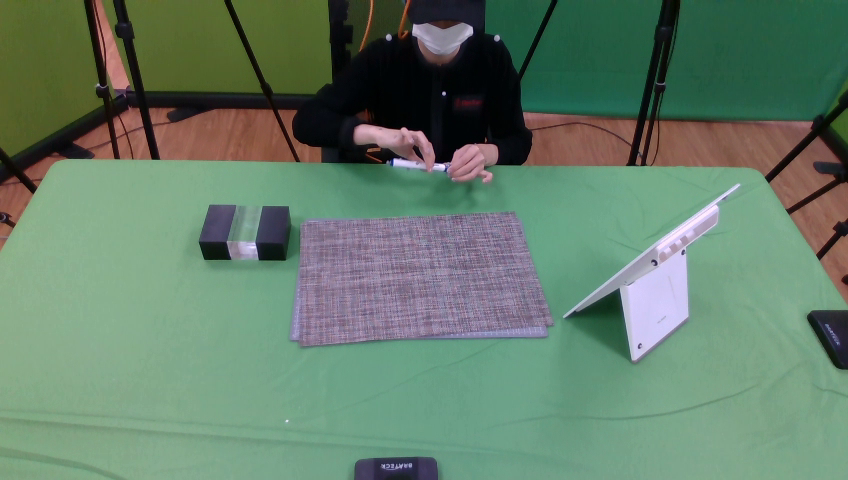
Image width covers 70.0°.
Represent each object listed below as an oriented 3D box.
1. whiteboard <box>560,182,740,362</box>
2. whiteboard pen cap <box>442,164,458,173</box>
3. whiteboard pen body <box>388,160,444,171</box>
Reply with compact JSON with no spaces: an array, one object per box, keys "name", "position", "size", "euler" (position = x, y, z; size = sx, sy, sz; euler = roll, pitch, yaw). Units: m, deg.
[{"name":"whiteboard","position":[0.406,0.075,1.001],"size":[0.217,0.306,0.143],"euler":[-28,73,-28]},{"name":"whiteboard pen cap","position":[0.053,-0.150,1.267],"size":[0.033,0.018,0.018],"euler":[2,45,-19]},{"name":"whiteboard pen body","position":[-0.005,-0.153,1.252],"size":[0.141,0.017,0.017],"euler":[3,46,-13]}]
